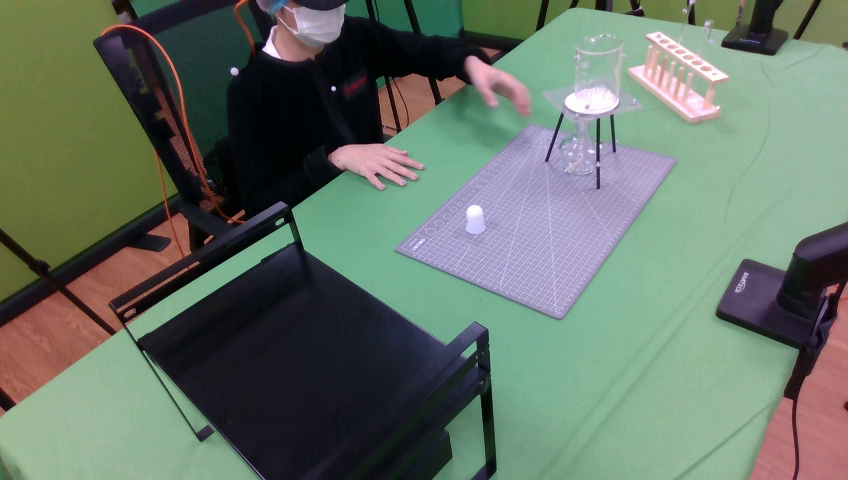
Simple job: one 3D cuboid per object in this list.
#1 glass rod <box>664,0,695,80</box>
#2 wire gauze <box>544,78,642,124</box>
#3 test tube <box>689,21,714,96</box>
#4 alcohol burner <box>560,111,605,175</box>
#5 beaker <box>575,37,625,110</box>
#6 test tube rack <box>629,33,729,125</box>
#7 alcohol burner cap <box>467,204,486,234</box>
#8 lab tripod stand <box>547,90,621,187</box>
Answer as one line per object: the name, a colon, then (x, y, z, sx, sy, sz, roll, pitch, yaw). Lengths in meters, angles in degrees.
glass rod: (0.523, -0.415, 1.235, 0.008, 0.200, 0.008, 1, 46, 0)
wire gauze: (0.282, -0.234, 1.022, 0.125, 0.011, 0.120, -17, 38, -4)
test tube: (0.541, -0.353, 1.184, 0.017, 0.151, 0.017, -2, 40, 2)
alcohol burner: (0.281, -0.176, 1.070, 0.078, 0.119, 0.077, -4, 43, 5)
beaker: (0.283, -0.271, 0.988, 0.074, 0.101, 0.083, -10, 39, 1)
test tube rack: (0.516, -0.337, 1.247, 0.067, 0.085, 0.240, -14, 41, -7)
alcohol burner cap: (0.085, -0.037, 0.993, 0.034, 0.048, 0.033, -4, 41, 4)
lab tripod stand: (0.289, -0.184, 1.062, 0.148, 0.132, 0.147, -6, 41, 6)
